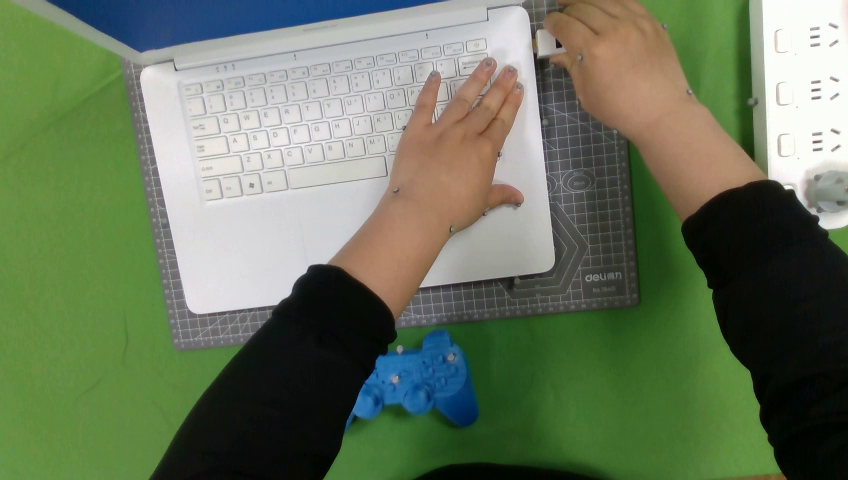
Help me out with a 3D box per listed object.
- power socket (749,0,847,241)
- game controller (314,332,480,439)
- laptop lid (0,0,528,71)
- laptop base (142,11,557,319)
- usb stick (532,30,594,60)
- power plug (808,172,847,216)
[{"bbox_3d":[0.317,-0.110,0.508,0.072,0.032,0.227,-5,97,7],"label":"power socket"},{"bbox_3d":[-0.028,0.139,0.567,0.155,0.051,0.097,-6,92,5],"label":"game controller"},{"bbox_3d":[-0.099,-0.180,0.422,0.356,0.242,0.013,-8,89,7],"label":"laptop lid"},{"bbox_3d":[-0.068,-0.062,0.556,0.354,0.023,0.236,-8,100,6],"label":"laptop base"},{"bbox_3d":[0.114,-0.167,0.519,0.059,0.027,0.021,-2,102,2],"label":"usb stick"},{"bbox_3d":[0.354,-0.036,0.496,0.072,0.052,0.035,5,96,0],"label":"power plug"}]
